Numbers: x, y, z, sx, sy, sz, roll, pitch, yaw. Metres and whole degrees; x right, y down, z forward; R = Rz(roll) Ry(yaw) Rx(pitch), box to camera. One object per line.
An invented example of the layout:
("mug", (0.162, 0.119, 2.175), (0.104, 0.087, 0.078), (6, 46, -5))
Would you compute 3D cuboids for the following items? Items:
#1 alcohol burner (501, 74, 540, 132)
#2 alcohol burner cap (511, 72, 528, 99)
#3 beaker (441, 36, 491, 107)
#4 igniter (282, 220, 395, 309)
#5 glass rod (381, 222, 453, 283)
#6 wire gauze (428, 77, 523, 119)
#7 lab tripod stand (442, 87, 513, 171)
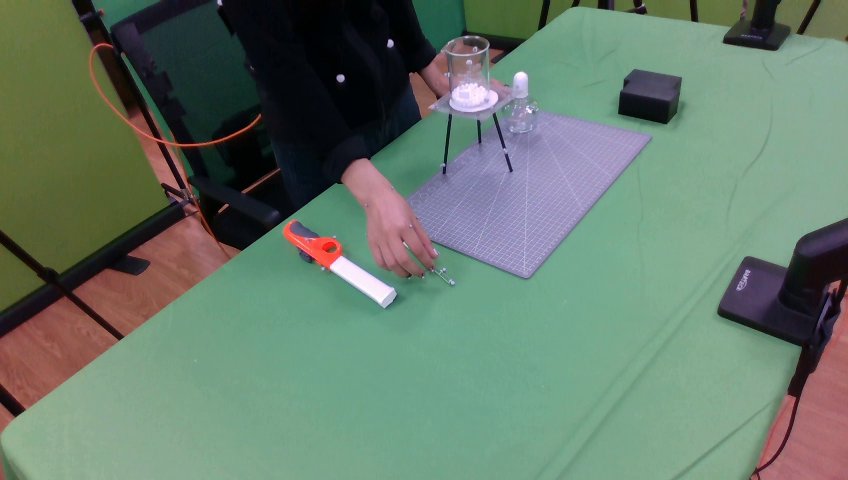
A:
("alcohol burner", (0.191, -0.275, 1.194), (0.078, 0.119, 0.077), (-4, 42, 4))
("alcohol burner cap", (0.185, -0.302, 1.171), (0.034, 0.048, 0.033), (-2, 42, 2))
("beaker", (0.074, -0.286, 1.036), (0.084, 0.101, 0.073), (-1, 41, 8))
("igniter", (-0.146, 0.032, 0.966), (0.274, 0.025, 0.057), (30, 65, 37))
("glass rod", (-0.014, 0.017, 0.976), (0.008, 0.008, 0.198), (-30, 44, -22))
("wire gauze", (0.090, -0.248, 1.063), (0.120, 0.011, 0.125), (24, 48, 30))
("lab tripod stand", (0.097, -0.201, 1.108), (0.148, 0.132, 0.147), (-4, 40, 4))
